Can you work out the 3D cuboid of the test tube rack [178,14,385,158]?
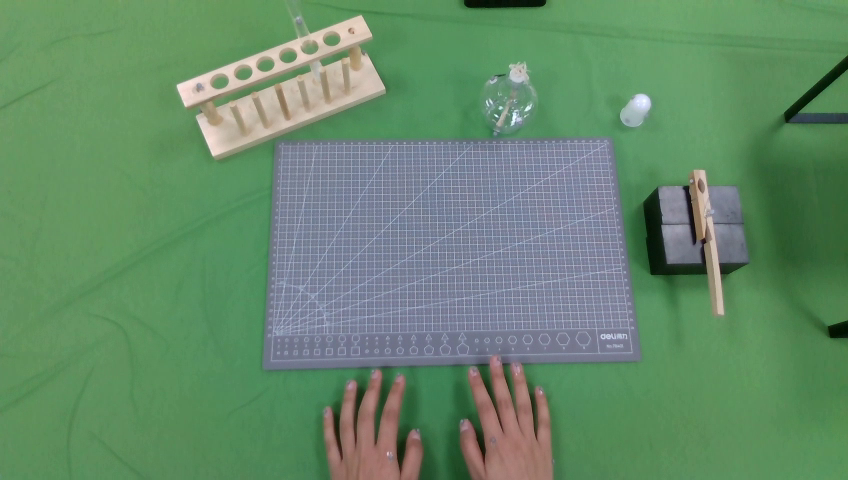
[{"bbox_3d":[-0.174,-0.196,0.776,0.242,0.085,0.066,-24,74,-9],"label":"test tube rack"}]

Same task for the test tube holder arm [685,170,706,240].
[{"bbox_3d":[0.329,-0.042,0.732,0.010,0.015,0.087,-1,74,-4],"label":"test tube holder arm"}]

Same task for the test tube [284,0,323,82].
[{"bbox_3d":[-0.144,-0.247,0.739,0.017,0.151,0.017,-3,62,6],"label":"test tube"}]

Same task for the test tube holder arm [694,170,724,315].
[{"bbox_3d":[0.337,0.001,0.721,0.013,0.015,0.177,-2,74,-4],"label":"test tube holder arm"}]

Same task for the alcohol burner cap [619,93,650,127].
[{"bbox_3d":[0.284,-0.176,0.811,0.034,0.048,0.033,0,72,0],"label":"alcohol burner cap"}]

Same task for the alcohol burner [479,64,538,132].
[{"bbox_3d":[0.110,-0.188,0.771,0.078,0.119,0.077,1,73,-2],"label":"alcohol burner"}]
